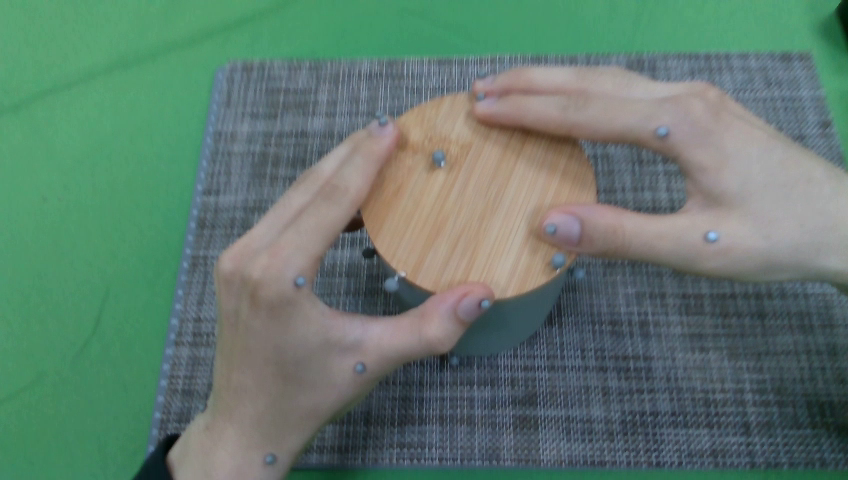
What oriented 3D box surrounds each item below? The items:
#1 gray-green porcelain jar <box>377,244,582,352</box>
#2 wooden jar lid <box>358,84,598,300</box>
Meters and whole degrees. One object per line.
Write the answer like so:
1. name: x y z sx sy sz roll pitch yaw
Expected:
1. gray-green porcelain jar: 0.028 0.002 0.337 0.106 0.127 0.105 -1 67 2
2. wooden jar lid: 0.024 -0.023 0.281 0.108 0.021 0.107 0 70 1
